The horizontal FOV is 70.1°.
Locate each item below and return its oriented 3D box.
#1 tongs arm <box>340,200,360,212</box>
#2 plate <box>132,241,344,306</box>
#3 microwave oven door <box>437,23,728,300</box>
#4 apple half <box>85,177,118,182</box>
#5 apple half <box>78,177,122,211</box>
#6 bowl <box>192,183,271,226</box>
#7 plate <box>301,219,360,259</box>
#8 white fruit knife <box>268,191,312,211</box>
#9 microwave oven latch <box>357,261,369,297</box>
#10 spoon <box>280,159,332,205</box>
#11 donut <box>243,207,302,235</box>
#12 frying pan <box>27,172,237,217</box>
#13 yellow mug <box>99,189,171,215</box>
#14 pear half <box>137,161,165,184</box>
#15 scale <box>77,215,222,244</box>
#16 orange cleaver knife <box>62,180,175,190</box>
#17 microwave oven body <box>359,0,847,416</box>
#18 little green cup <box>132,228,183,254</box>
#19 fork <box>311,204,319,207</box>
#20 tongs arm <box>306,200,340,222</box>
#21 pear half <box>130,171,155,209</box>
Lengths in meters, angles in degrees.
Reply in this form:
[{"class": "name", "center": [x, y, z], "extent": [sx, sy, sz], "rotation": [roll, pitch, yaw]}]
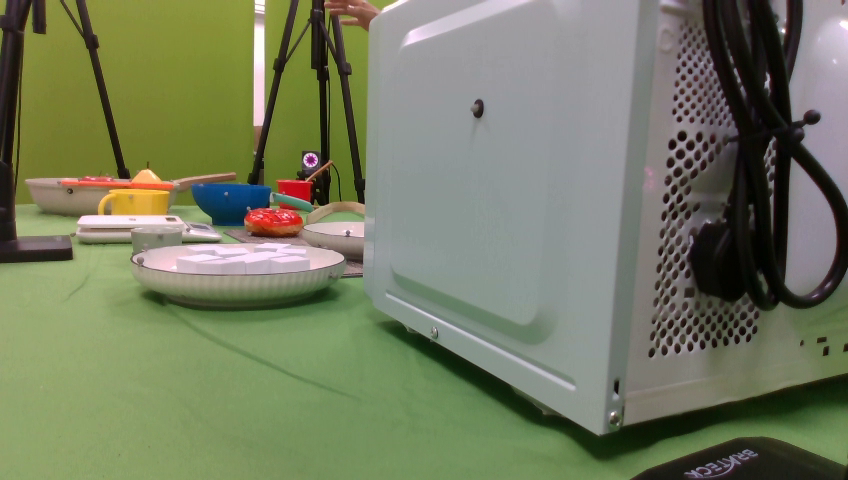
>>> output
[{"class": "tongs arm", "center": [-0.149, -0.070, 1.429], "extent": [0.051, 0.026, 0.383], "rotation": [-4, 8, -15]}, {"class": "plate", "center": [-0.187, 0.033, 0.625], "extent": [0.208, 0.039, 0.207], "rotation": [2, 7, 0]}, {"class": "microwave oven door", "center": [0.181, -0.072, 0.621], "extent": [0.358, 0.243, 0.039], "rotation": [-2, 8, -29]}, {"class": "apple half", "center": [-0.673, -0.096, 1.269], "extent": [0.082, 0.081, 0.032], "rotation": [-4, 6, -40]}, {"class": "apple half", "center": [-0.698, -0.099, 1.298], "extent": [0.081, 0.074, 0.053], "rotation": [-9, 9, -40]}, {"class": "bowl", "center": [-0.382, -0.070, 1.202], "extent": [0.151, 0.077, 0.151], "rotation": [3, 7, 0]}, {"class": "plate", "center": [-0.077, -0.002, 0.893], "extent": [0.209, 0.038, 0.209], "rotation": [3, 8, 0]}, {"class": "white fruit knife", "center": [-0.364, -0.105, 1.464], "extent": [0.208, 0.027, 0.016], "rotation": [15, 0, -34]}, {"class": "microwave oven latch", "center": [-0.019, 0.033, 0.531], "extent": [0.079, 0.029, 0.030], "rotation": [-1, 7, -27]}, {"class": "spoon", "center": [-0.316, -0.159, 1.640], "extent": [0.194, 0.022, 0.041], "rotation": [-50, 31, -20]}, {"class": "donut", "center": [-0.261, -0.032, 1.043], "extent": [0.099, 0.048, 0.099], "rotation": [4, 9, 0]}, {"class": "frying pan", "center": [-0.624, -0.118, 1.387], "extent": [0.305, 0.102, 0.490], "rotation": [8, 17, 32]}, {"class": "yellow mug", "center": [-0.518, -0.055, 1.080], "extent": [0.099, 0.064, 0.131], "rotation": [6, 10, 26]}, {"class": "pear half", "center": [-0.604, -0.120, 1.354], "extent": [0.056, 0.110, 0.076], "rotation": [3, 11, 7]}, {"class": "scale", "center": [-0.434, -0.019, 0.963], "extent": [0.202, 0.031, 0.148], "rotation": [-1, 9, -27]}, {"class": "orange cleaver knife", "center": [-0.600, -0.110, 1.193], "extent": [0.212, 0.012, 0.077], "rotation": [1, 8, -13]}, {"class": "microwave oven body", "center": [0.211, -0.047, 0.475], "extent": [0.444, 0.260, 0.324], "rotation": [-1, 7, -28]}, {"class": "little green cup", "center": [-0.342, 0.006, 0.779], "extent": [0.061, 0.038, 0.061], "rotation": [2, 8, 0]}, {"class": "fork", "center": [-0.356, -0.105, 1.526], "extent": [0.208, 0.018, 0.028], "rotation": [16, -5, -41]}, {"class": "tongs arm", "center": [-0.235, -0.069, 1.414], "extent": [0.028, 0.028, 0.387], "rotation": [-5, 8, 0]}, {"class": "pear half", "center": [-0.640, -0.113, 1.361], "extent": [0.031, 0.088, 0.070], "rotation": [5, 10, 5]}]
